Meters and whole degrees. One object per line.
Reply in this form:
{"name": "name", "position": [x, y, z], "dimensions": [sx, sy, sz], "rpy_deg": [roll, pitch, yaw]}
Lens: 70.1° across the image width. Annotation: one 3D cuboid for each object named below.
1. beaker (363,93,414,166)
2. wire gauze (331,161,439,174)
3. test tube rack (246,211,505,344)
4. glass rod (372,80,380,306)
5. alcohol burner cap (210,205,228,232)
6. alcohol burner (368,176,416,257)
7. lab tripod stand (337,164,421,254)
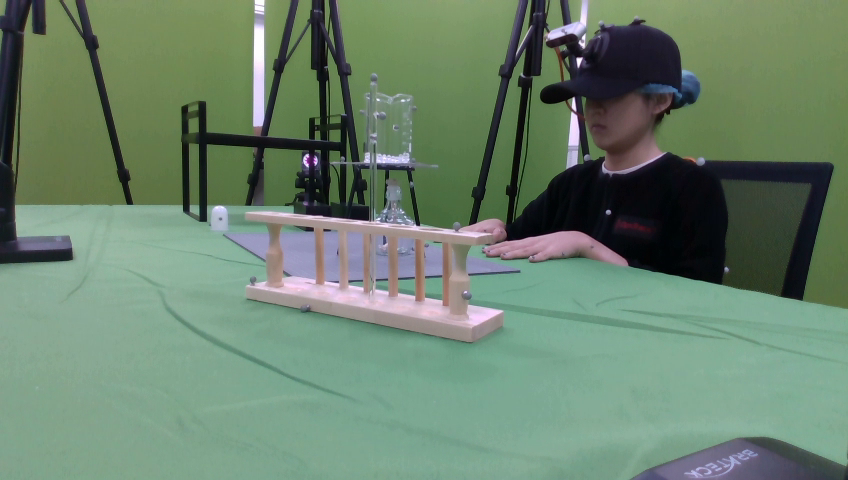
{"name": "beaker", "position": [-0.052, -0.157, 0.871], "dimensions": [0.074, 0.100, 0.084], "rpy_deg": [1, 6, -10]}
{"name": "wire gauze", "position": [-0.054, -0.109, 0.883], "dimensions": [0.121, 0.011, 0.125], "rpy_deg": [6, 5, 18]}
{"name": "test tube rack", "position": [-0.049, 0.025, 0.547], "dimensions": [0.241, 0.085, 0.067], "rpy_deg": [7, 8, 29]}
{"name": "glass rod", "position": [-0.042, -0.039, 0.530], "dimensions": [0.008, 0.199, 0.008], "rpy_deg": [0, 2, 0]}
{"name": "alcohol burner cap", "position": [-0.376, -0.040, 1.107], "dimensions": [0.034, 0.048, 0.034], "rpy_deg": [2, 7, 0]}
{"name": "alcohol burner", "position": [-0.046, -0.035, 0.896], "dimensions": [0.078, 0.119, 0.078], "rpy_deg": [3, 5, 0]}
{"name": "lab tripod stand", "position": [-0.061, -0.045, 0.894], "dimensions": [0.148, 0.131, 0.148], "rpy_deg": [1, 6, 0]}
